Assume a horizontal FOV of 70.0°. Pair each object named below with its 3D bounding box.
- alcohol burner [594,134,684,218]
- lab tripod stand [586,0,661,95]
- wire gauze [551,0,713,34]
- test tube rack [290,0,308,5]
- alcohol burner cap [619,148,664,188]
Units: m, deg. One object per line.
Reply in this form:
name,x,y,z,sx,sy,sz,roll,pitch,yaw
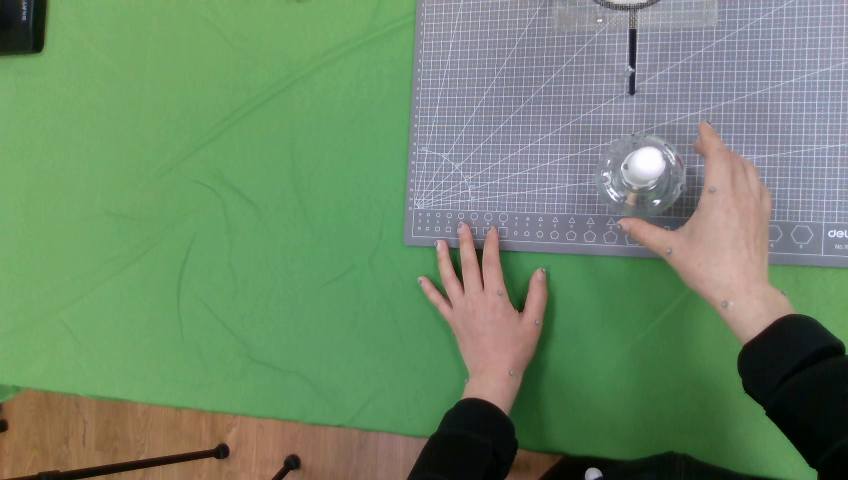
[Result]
alcohol burner,0.193,-0.059,0.541,0.078,0.119,0.078,-1,86,14
lab tripod stand,0.181,-0.219,0.541,0.148,0.132,0.148,0,88,14
wire gauze,0.163,-0.223,0.478,0.125,0.011,0.121,2,91,13
test tube rack,-0.056,-0.337,0.638,0.242,0.085,0.066,-15,83,14
alcohol burner cap,0.183,-0.062,0.506,0.034,0.048,0.034,0,89,10
